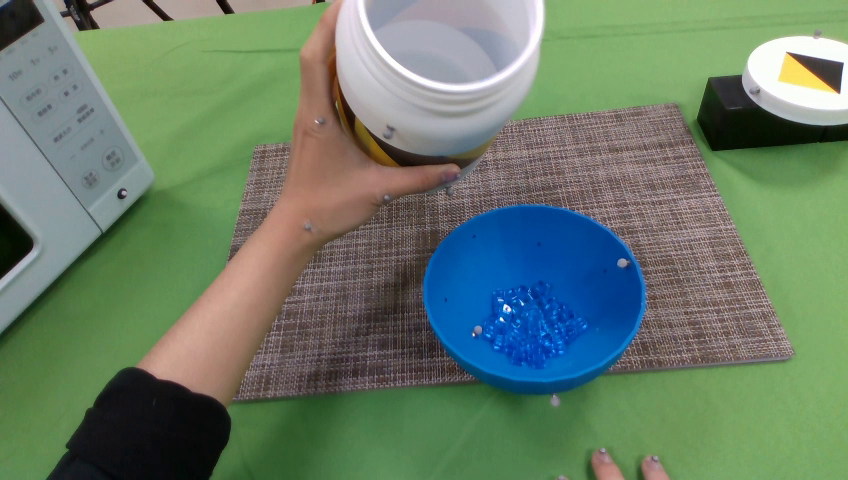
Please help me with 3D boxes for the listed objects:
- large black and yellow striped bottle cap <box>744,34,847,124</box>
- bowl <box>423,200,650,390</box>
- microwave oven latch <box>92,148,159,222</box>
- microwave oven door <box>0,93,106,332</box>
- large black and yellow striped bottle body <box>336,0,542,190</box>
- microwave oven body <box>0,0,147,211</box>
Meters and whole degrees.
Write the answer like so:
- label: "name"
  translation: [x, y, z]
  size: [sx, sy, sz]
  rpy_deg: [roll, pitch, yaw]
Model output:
- label: "large black and yellow striped bottle cap"
  translation: [0.356, -0.149, 0.552]
  size: [0.115, 0.019, 0.114]
  rpy_deg: [-4, 49, 6]
- label: "bowl"
  translation: [0.078, 0.051, 0.440]
  size: [0.151, 0.077, 0.150]
  rpy_deg: [-4, 50, 5]
- label: "microwave oven latch"
  translation: [-0.294, -0.056, 0.587]
  size: [0.030, 0.030, 0.079]
  rpy_deg: [20, 56, 21]
- label: "microwave oven door"
  translation: [-0.403, 0.034, 0.391]
  size: [0.039, 0.246, 0.354]
  rpy_deg: [17, 54, 21]
- label: "large black and yellow striped bottle body"
  translation: [0.004, -0.120, 0.430]
  size: [0.131, 0.184, 0.130]
  rpy_deg: [1, 79, -7]
- label: "microwave oven body"
  translation: [-0.515, -0.032, 0.468]
  size: [0.324, 0.263, 0.439]
  rpy_deg: [18, 55, 20]
